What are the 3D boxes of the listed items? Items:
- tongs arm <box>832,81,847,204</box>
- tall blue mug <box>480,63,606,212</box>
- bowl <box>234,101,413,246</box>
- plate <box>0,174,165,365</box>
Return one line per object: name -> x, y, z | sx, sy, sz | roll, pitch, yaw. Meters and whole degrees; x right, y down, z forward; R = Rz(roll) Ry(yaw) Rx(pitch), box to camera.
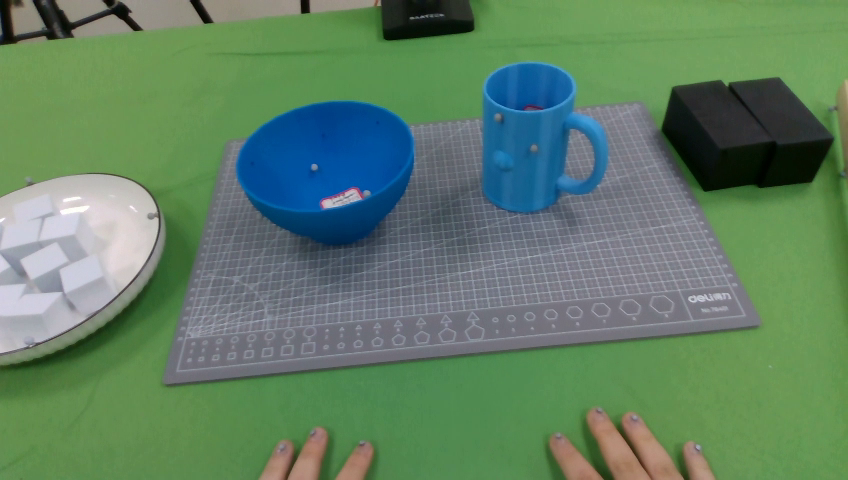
tongs arm -> 0.377, -0.014, 0.495 | 0.050, 0.027, 0.382 | 17, 50, 12
tall blue mug -> 0.103, -0.088, 0.535 | 0.107, 0.109, 0.077 | 3, 46, 8
bowl -> -0.081, -0.048, 0.535 | 0.151, 0.077, 0.150 | -2, 46, 3
plate -> -0.325, 0.023, 0.521 | 0.209, 0.038, 0.207 | -2, 46, 2
